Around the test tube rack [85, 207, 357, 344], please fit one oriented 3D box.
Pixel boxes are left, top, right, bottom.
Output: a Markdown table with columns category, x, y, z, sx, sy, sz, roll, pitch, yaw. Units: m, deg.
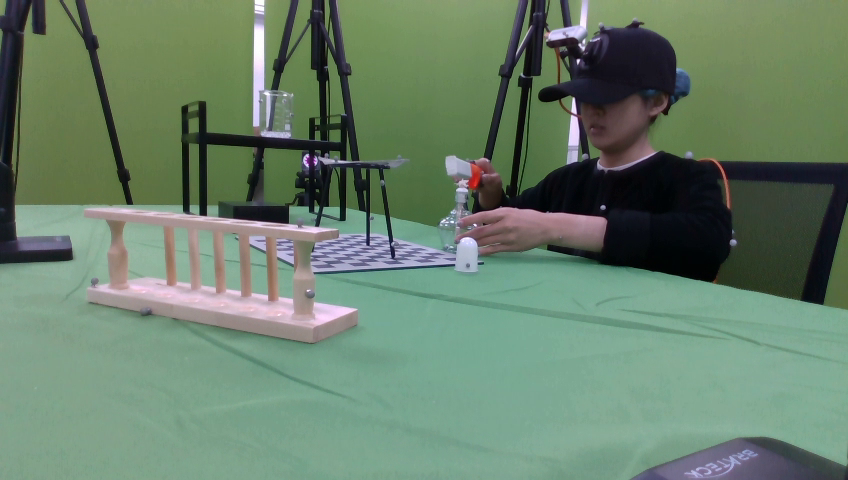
| category | x | y | z | sx | sy | sz | roll | pitch | yaw |
| --- | --- | --- | --- | --- | --- | --- | --- | --- | --- |
| test tube rack | -0.177 | 0.022 | 0.518 | 0.241 | 0.085 | 0.067 | 6 | 7 | 23 |

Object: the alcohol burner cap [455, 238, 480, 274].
| category | x | y | z | sx | sy | sz | roll | pitch | yaw |
| --- | --- | --- | --- | --- | --- | --- | --- | --- | --- |
| alcohol burner cap | 0.058 | 0.022 | 0.798 | 0.034 | 0.048 | 0.034 | 3 | 6 | 0 |

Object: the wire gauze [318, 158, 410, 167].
| category | x | y | z | sx | sy | sz | roll | pitch | yaw |
| --- | --- | --- | --- | --- | --- | --- | --- | --- | --- |
| wire gauze | -0.090 | -0.114 | 0.888 | 0.122 | 0.011 | 0.124 | 0 | 6 | -15 |

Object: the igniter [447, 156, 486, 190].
| category | x | y | z | sx | sy | sz | roll | pitch | yaw |
| --- | --- | --- | --- | --- | --- | --- | --- | --- | --- |
| igniter | 0.083 | -0.123 | 1.112 | 0.025 | 0.057 | 0.277 | -6 | -1 | 15 |

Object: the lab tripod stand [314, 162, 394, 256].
| category | x | y | z | sx | sy | sz | roll | pitch | yaw |
| --- | --- | --- | --- | --- | --- | --- | --- | --- | --- |
| lab tripod stand | -0.098 | -0.048 | 0.897 | 0.148 | 0.131 | 0.148 | 1 | 6 | 0 |

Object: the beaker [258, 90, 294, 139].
| category | x | y | z | sx | sy | sz | roll | pitch | yaw |
| --- | --- | --- | --- | --- | --- | --- | --- | --- | --- |
| beaker | -0.324 | -0.274 | 1.331 | 0.083 | 0.100 | 0.074 | 7 | 9 | 24 |

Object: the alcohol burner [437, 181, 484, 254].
| category | x | y | z | sx | sy | sz | roll | pitch | yaw |
| --- | --- | --- | --- | --- | --- | --- | --- | --- | --- |
| alcohol burner | 0.060 | -0.037 | 0.981 | 0.078 | 0.119 | 0.078 | 4 | 9 | 0 |
